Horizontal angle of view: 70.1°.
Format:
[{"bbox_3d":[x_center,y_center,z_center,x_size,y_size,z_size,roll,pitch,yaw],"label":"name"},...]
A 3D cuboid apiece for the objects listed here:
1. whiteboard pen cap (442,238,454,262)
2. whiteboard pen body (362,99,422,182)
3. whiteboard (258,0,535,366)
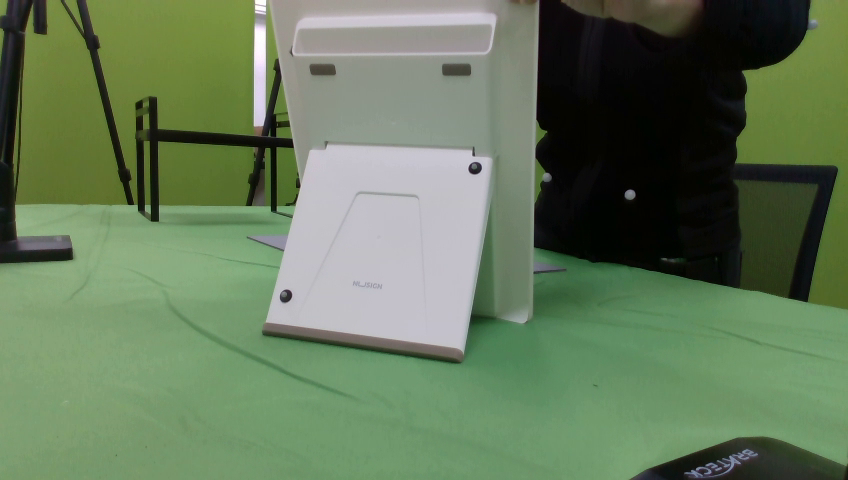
[{"bbox_3d":[0.033,0.014,0.851,0.018,0.033,0.018,3,5,0],"label":"whiteboard pen cap"},{"bbox_3d":[-0.031,-0.097,0.583,0.017,0.017,0.141,5,42,21],"label":"whiteboard pen body"},{"bbox_3d":[-0.037,-0.040,0.456,0.216,0.305,0.144,5,27,19],"label":"whiteboard"}]
